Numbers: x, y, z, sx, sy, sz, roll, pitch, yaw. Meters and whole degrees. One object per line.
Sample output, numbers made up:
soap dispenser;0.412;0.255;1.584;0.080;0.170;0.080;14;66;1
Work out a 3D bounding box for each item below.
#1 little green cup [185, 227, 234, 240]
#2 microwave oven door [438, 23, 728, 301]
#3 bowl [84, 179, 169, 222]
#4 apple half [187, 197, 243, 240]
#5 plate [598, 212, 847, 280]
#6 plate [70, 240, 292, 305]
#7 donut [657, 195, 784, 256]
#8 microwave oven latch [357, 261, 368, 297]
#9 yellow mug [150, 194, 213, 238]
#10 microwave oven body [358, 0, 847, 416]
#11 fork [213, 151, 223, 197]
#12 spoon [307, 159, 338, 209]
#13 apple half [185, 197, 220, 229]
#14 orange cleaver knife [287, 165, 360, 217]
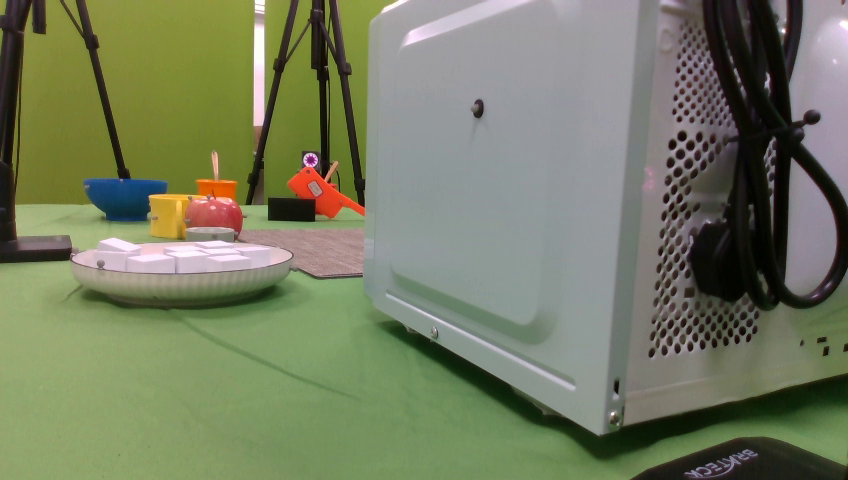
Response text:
little green cup;-0.285;0.005;0.805;0.061;0.038;0.061;2;8;0
microwave oven door;0.181;-0.072;0.620;0.358;0.243;0.039;-2;8;-29
bowl;-0.584;-0.078;1.194;0.151;0.077;0.151;3;8;0
apple half;-0.305;-0.026;0.907;0.053;0.074;0.081;12;8;31
plate;0.255;0.002;0.519;0.209;0.038;0.209;2;7;0
plate;-0.242;0.031;0.618;0.208;0.039;0.207;2;8;0
donut;0.251;-0.012;0.517;0.099;0.048;0.099;5;7;0
microwave oven latch;-0.019;0.033;0.531;0.079;0.029;0.030;-1;7;-27
yellow mug;-0.401;-0.040;1.003;0.100;0.064;0.130;-1;9;-20
microwave oven body;0.211;-0.047;0.474;0.444;0.260;0.324;-1;7;-28
fork;-0.494;-0.143;1.442;0.028;0.018;0.206;-3;52;-19
spoon;-0.257;-0.146;1.567;0.041;0.022;0.193;1;51;20
apple half;-0.338;-0.031;0.927;0.032;0.081;0.081;12;12;31
orange cleaver knife;-0.211;-0.093;1.382;0.212;0.077;0.012;33;1;-15
